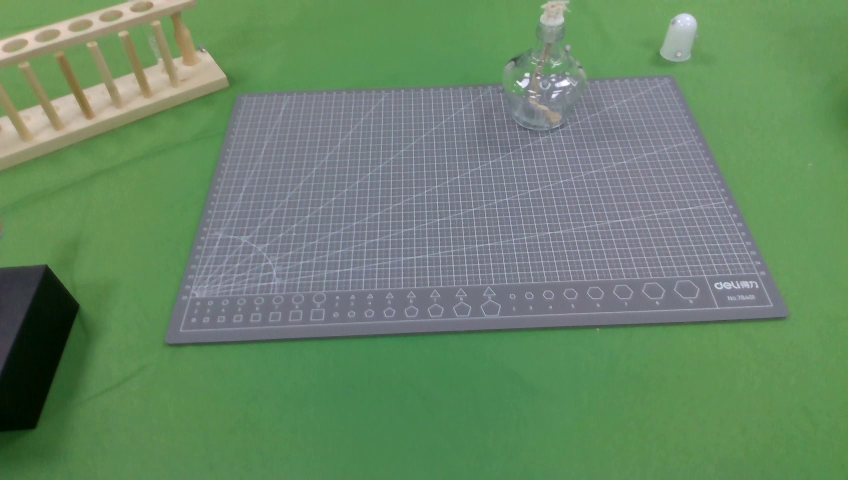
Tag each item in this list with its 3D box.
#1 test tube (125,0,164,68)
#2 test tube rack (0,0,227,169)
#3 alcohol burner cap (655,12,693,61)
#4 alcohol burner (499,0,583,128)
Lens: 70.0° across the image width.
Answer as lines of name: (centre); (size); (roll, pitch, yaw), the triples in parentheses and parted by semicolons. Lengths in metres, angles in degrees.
test tube: (-0.280, -0.234, 0.581); (0.017, 0.152, 0.017); (-4, 47, 4)
test tube rack: (-0.327, -0.158, 0.584); (0.242, 0.086, 0.066); (-27, 54, -20)
alcohol burner cap: (0.268, -0.217, 0.642); (0.034, 0.048, 0.033); (-2, 49, 2)
alcohol burner: (0.108, -0.163, 0.550); (0.078, 0.120, 0.077); (-1, 48, 1)
